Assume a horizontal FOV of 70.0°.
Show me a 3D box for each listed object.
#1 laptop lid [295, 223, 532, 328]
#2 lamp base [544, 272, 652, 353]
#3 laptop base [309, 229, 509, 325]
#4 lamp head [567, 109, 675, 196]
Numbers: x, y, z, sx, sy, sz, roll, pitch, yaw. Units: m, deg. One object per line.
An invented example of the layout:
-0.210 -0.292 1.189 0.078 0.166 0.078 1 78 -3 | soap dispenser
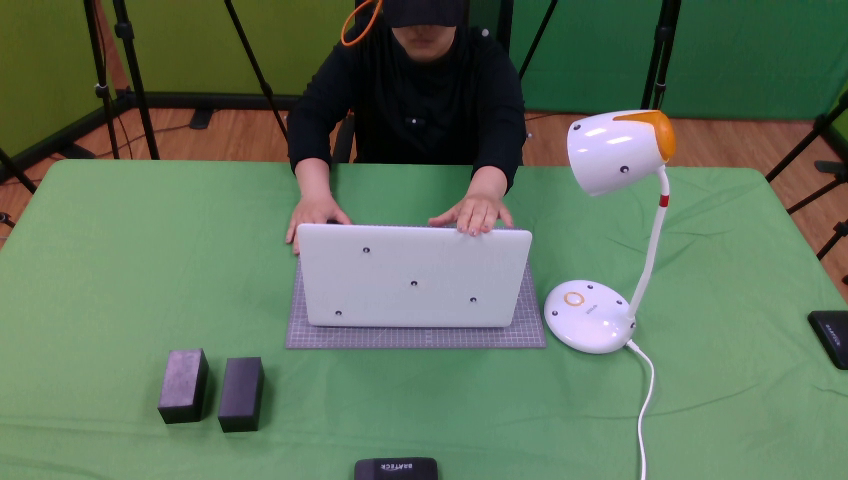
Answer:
-0.018 0.065 0.968 0.357 0.243 0.013 2 44 -4 | laptop lid
0.310 0.086 1.029 0.178 0.181 0.160 32 52 21 | lamp base
-0.028 0.066 1.134 0.354 0.023 0.234 1 43 -3 | laptop base
0.272 -0.123 0.818 0.122 0.113 0.112 -9 35 37 | lamp head
